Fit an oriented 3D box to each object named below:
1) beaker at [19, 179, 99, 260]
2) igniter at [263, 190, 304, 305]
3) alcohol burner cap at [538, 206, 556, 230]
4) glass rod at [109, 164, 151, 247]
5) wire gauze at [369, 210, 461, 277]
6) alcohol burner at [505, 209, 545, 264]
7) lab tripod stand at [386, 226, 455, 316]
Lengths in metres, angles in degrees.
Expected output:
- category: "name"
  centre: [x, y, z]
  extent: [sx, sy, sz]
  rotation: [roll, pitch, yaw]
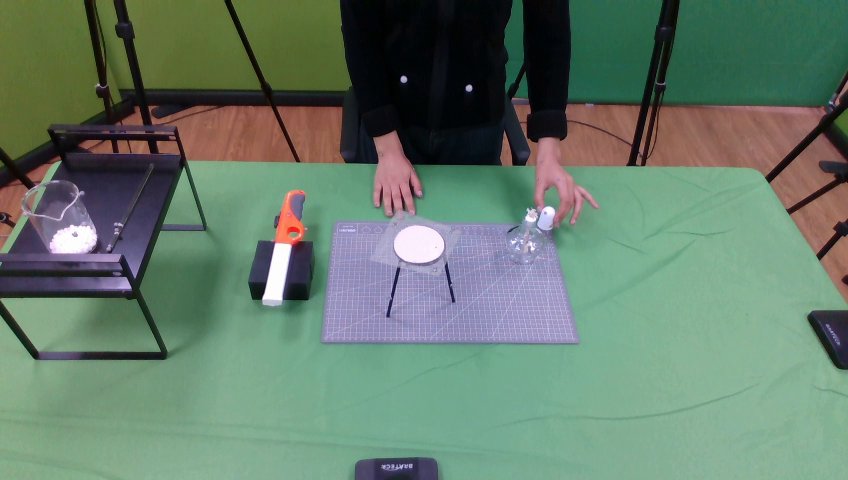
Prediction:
- category: "beaker"
  centre: [-0.522, -0.024, 0.878]
  extent: [0.074, 0.101, 0.083]
  rotation: [-26, 54, -25]
- category: "igniter"
  centre: [-0.255, 0.004, 1.107]
  extent: [0.057, 0.025, 0.274]
  rotation: [6, 47, -7]
- category: "alcohol burner cap"
  centre: [0.248, -0.046, 1.207]
  extent: [0.034, 0.048, 0.033]
  rotation: [1, 47, -1]
- category: "glass rod"
  centre: [-0.473, -0.061, 0.979]
  extent: [0.008, 0.008, 0.198]
  rotation: [1, 46, -3]
- category: "wire gauze"
  centre: [-0.013, 0.005, 1.017]
  extent: [0.121, 0.011, 0.124]
  rotation: [17, 49, 12]
- category: "alcohol burner"
  centre: [0.196, -0.013, 1.158]
  extent: [0.078, 0.120, 0.077]
  rotation: [1, 44, -1]
- category: "lab tripod stand"
  centre: [-0.013, 0.054, 1.064]
  extent: [0.148, 0.132, 0.147]
  rotation: [2, 48, -2]
